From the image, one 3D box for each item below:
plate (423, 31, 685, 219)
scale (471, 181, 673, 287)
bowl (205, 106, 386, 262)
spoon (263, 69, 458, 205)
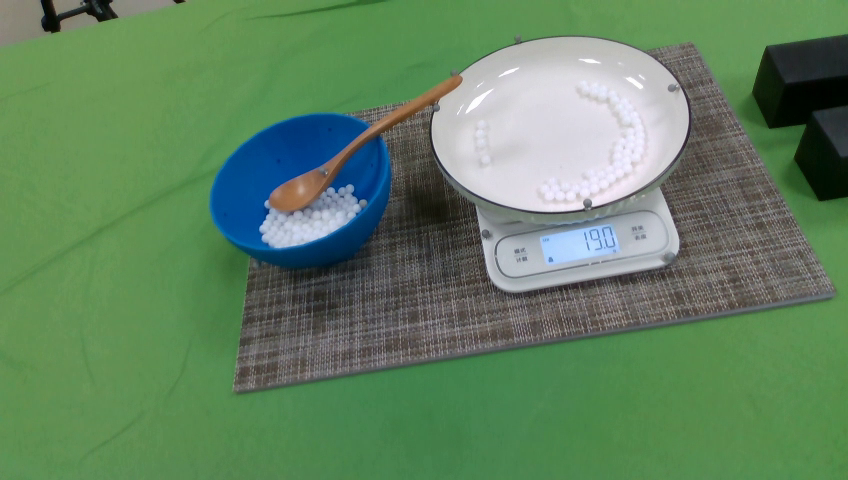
[{"bbox_3d":[0.104,-0.096,0.504,0.209,0.038,0.207,-5,53,8],"label":"plate"},{"bbox_3d":[0.111,-0.058,0.516,0.148,0.032,0.199,-11,53,5],"label":"scale"},{"bbox_3d":[-0.098,-0.034,0.516,0.151,0.077,0.150,-6,53,9],"label":"bowl"},{"bbox_3d":[-0.055,-0.084,0.501,0.194,0.022,0.041,-33,43,16],"label":"spoon"}]
